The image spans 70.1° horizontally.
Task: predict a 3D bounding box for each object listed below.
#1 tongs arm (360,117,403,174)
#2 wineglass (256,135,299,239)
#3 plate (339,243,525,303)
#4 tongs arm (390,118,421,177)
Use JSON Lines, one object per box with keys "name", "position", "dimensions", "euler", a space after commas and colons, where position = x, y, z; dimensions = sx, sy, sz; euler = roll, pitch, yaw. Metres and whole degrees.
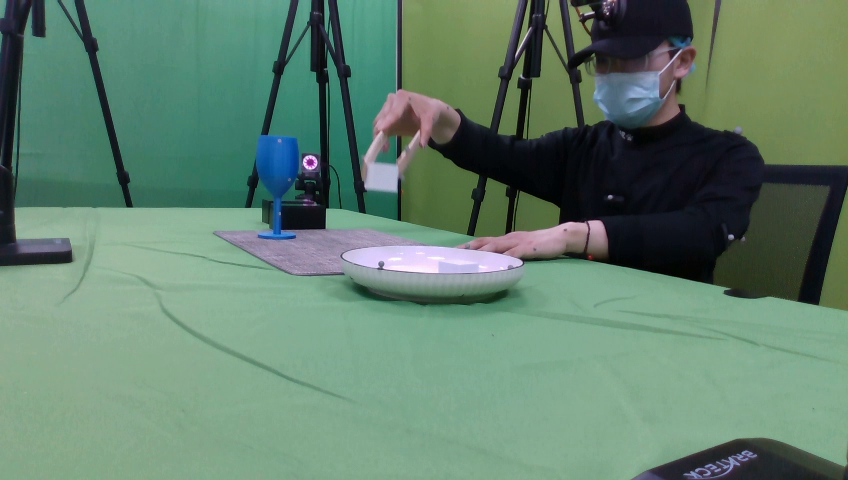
{"name": "tongs arm", "position": [-0.061, -0.149, 0.901], "dimensions": [0.028, 0.028, 0.387], "euler": [2, 18, 2]}
{"name": "wineglass", "position": [-0.252, -0.091, 1.035], "dimensions": [0.074, 0.172, 0.073], "euler": [2, 7, 0]}
{"name": "plate", "position": [0.008, 0.035, 0.682], "dimensions": [0.209, 0.038, 0.209], "euler": [3, 7, 0]}
{"name": "tongs arm", "position": [-0.036, -0.146, 0.901], "dimensions": [0.051, 0.026, 0.385], "euler": [7, 18, 5]}
